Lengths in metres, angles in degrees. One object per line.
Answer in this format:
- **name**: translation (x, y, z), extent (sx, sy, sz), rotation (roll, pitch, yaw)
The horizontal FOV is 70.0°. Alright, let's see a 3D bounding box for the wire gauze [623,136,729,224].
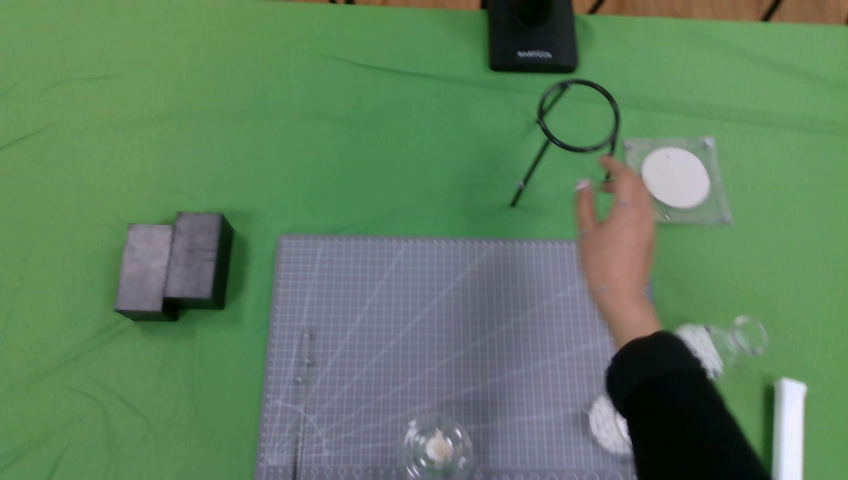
- **wire gauze**: translation (0.323, -0.079, 0.776), extent (0.125, 0.011, 0.120), rotation (0, 71, -4)

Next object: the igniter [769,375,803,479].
- **igniter**: translation (0.380, 0.282, 0.643), extent (0.057, 0.025, 0.275), rotation (17, 70, -7)

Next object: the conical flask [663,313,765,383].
- **conical flask**: translation (0.315, 0.110, 0.650), extent (0.075, 0.122, 0.075), rotation (1, 70, -2)

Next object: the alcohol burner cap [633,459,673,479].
- **alcohol burner cap**: translation (0.244, 0.248, 0.638), extent (0.034, 0.048, 0.033), rotation (1, 70, -2)

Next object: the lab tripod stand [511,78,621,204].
- **lab tripod stand**: translation (0.166, -0.112, 0.714), extent (0.148, 0.132, 0.147), rotation (1, 72, -2)

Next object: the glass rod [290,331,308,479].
- **glass rod**: translation (-0.136, 0.197, 0.655), extent (0.008, 0.008, 0.198), rotation (2, 73, -2)

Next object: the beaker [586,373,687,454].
- **beaker**: translation (0.217, 0.181, 0.630), extent (0.084, 0.101, 0.073), rotation (-21, 73, -10)

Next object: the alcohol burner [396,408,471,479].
- **alcohol burner**: translation (0.010, 0.206, 0.604), extent (0.078, 0.120, 0.077), rotation (0, 69, 0)
